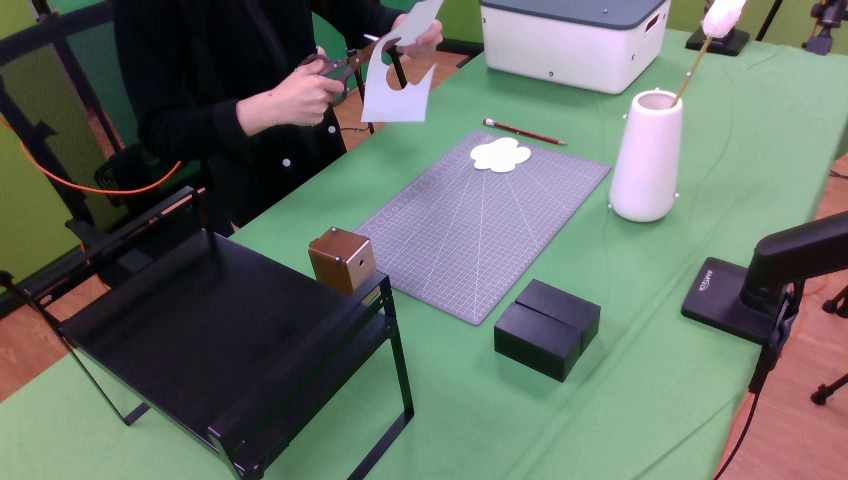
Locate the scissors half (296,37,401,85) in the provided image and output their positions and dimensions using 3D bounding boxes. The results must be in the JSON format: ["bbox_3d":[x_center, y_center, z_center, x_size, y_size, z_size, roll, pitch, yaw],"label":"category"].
[{"bbox_3d":[-0.118,-0.280,0.928,0.175,0.040,0.013,-15,30,11],"label":"scissors half"}]

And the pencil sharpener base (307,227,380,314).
[{"bbox_3d":[-0.116,0.043,0.875,0.076,0.107,0.061,18,47,27],"label":"pencil sharpener base"}]

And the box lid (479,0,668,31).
[{"bbox_3d":[0.335,-0.536,1.331,0.368,0.015,0.264,23,49,30],"label":"box lid"}]

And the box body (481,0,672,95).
[{"bbox_3d":[0.341,-0.480,1.381,0.361,0.161,0.255,22,48,30],"label":"box body"}]

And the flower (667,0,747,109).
[{"bbox_3d":[0.354,-0.187,0.879,0.038,0.362,0.044,30,48,14],"label":"flower"}]

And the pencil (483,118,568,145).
[{"bbox_3d":[0.202,-0.217,1.212,0.192,0.012,0.012,24,49,29],"label":"pencil"}]

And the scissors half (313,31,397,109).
[{"bbox_3d":[-0.106,-0.263,0.936,0.175,0.040,0.013,-40,17,22],"label":"scissors half"}]

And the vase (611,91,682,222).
[{"bbox_3d":[0.348,-0.125,0.935,0.098,0.201,0.097,-3,40,3],"label":"vase"}]

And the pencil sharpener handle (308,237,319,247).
[{"bbox_3d":[-0.159,0.017,0.892,0.030,0.068,0.036,18,60,28],"label":"pencil sharpener handle"}]
